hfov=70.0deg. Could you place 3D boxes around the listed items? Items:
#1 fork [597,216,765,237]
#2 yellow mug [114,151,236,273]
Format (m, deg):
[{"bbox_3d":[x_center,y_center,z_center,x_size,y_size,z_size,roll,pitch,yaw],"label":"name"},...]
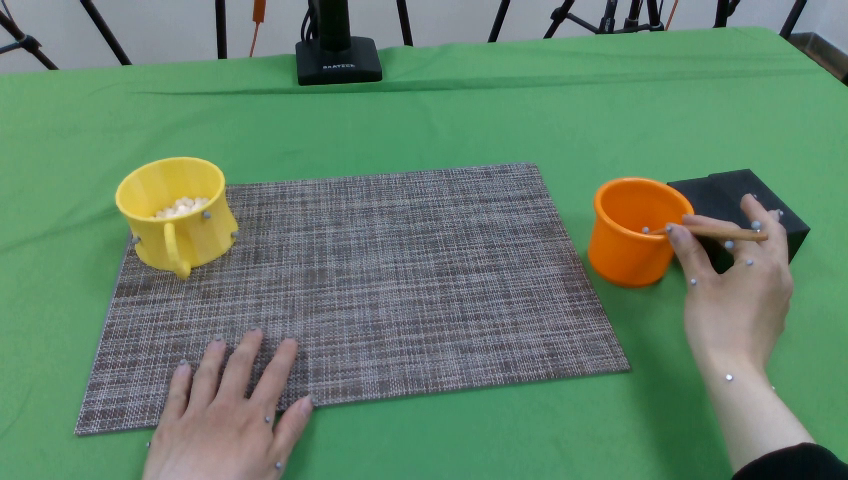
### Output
[{"bbox_3d":[0.217,-0.011,0.537,0.028,0.018,0.206,-4,0,-15],"label":"fork"},{"bbox_3d":[-0.240,-0.023,0.590,0.100,0.064,0.129,-10,46,-12],"label":"yellow mug"}]
